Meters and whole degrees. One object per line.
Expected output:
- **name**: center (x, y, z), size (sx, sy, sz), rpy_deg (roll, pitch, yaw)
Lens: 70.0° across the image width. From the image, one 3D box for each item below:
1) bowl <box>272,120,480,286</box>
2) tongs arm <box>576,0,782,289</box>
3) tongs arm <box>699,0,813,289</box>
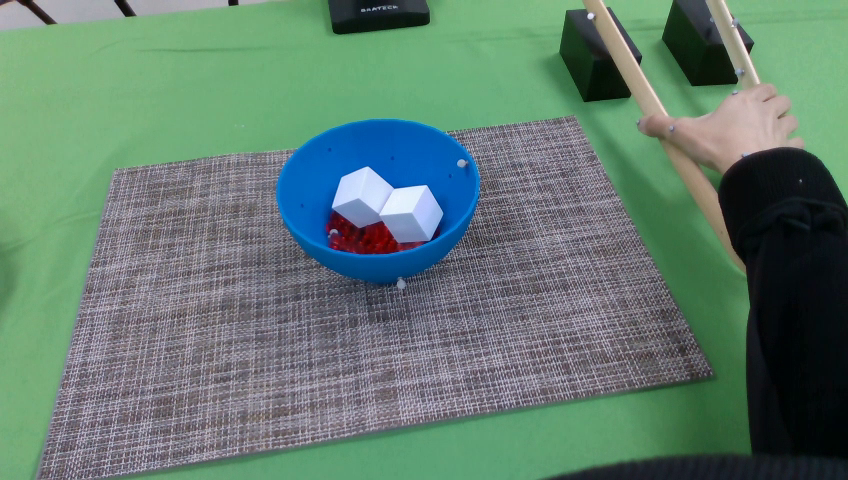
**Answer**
- **bowl**: center (-0.035, -0.017, 0.472), size (0.151, 0.077, 0.150), rpy_deg (0, 48, 1)
- **tongs arm**: center (0.209, -0.125, 0.558), size (0.028, 0.028, 0.383), rpy_deg (-10, 60, -12)
- **tongs arm**: center (0.283, -0.133, 0.563), size (0.051, 0.027, 0.381), rpy_deg (-2, 60, -3)
